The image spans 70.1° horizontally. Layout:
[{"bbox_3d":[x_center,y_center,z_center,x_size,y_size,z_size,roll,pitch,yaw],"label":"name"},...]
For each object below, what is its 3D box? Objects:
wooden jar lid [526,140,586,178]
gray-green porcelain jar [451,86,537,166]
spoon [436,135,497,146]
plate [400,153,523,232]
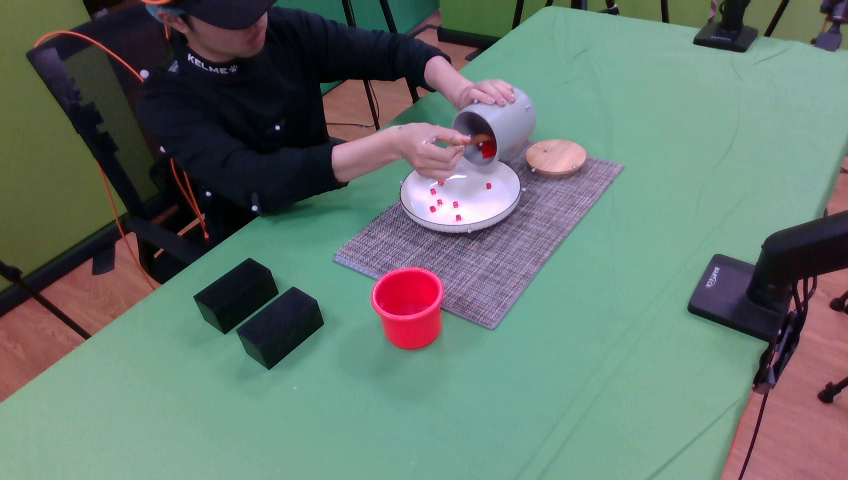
[{"bbox_3d":[0.240,-0.147,1.103,0.108,0.021,0.108,-4,42,4],"label":"wooden jar lid"},{"bbox_3d":[0.127,-0.204,1.059,0.105,0.106,0.127,27,49,33],"label":"gray-green porcelain jar"},{"bbox_3d":[0.073,-0.164,1.003,0.041,0.021,0.195,12,15,29],"label":"spoon"},{"bbox_3d":[0.065,-0.078,1.034,0.207,0.039,0.206,-4,41,4],"label":"plate"}]
